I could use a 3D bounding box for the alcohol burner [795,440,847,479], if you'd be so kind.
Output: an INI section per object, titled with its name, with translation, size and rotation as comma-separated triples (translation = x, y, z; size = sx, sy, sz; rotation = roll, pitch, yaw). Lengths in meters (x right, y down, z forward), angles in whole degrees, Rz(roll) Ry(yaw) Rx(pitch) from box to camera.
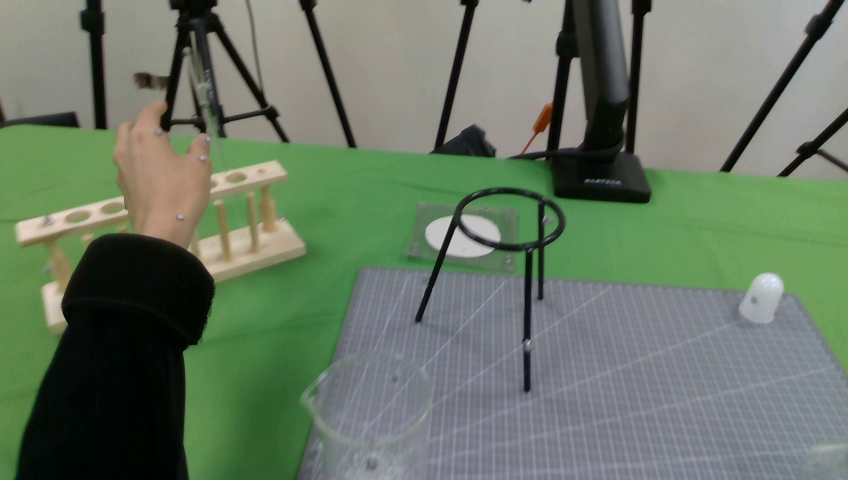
[alcohol burner]
translation = 0.283, 0.150, 0.381
size = 0.078, 0.120, 0.077
rotation = 2, 33, -1

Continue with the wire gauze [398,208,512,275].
[wire gauze]
translation = 0.038, -0.004, 0.693
size = 0.125, 0.011, 0.120
rotation = 5, 34, 7

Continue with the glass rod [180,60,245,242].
[glass rod]
translation = -0.207, -0.081, 0.607
size = 0.008, 0.201, 0.008
rotation = -6, 34, 4

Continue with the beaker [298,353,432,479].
[beaker]
translation = -0.037, 0.136, 0.400
size = 0.084, 0.101, 0.073
rotation = 2, 35, 1

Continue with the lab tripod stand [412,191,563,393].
[lab tripod stand]
translation = 0.060, 0.036, 0.520
size = 0.148, 0.132, 0.147
rotation = 0, 36, 0

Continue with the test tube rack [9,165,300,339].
[test tube rack]
translation = -0.252, 0.004, 0.597
size = 0.243, 0.086, 0.066
rotation = -19, 40, -27

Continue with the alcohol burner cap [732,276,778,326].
[alcohol burner cap]
translation = 0.320, 0.056, 0.583
size = 0.034, 0.048, 0.033
rotation = 1, 35, -1
